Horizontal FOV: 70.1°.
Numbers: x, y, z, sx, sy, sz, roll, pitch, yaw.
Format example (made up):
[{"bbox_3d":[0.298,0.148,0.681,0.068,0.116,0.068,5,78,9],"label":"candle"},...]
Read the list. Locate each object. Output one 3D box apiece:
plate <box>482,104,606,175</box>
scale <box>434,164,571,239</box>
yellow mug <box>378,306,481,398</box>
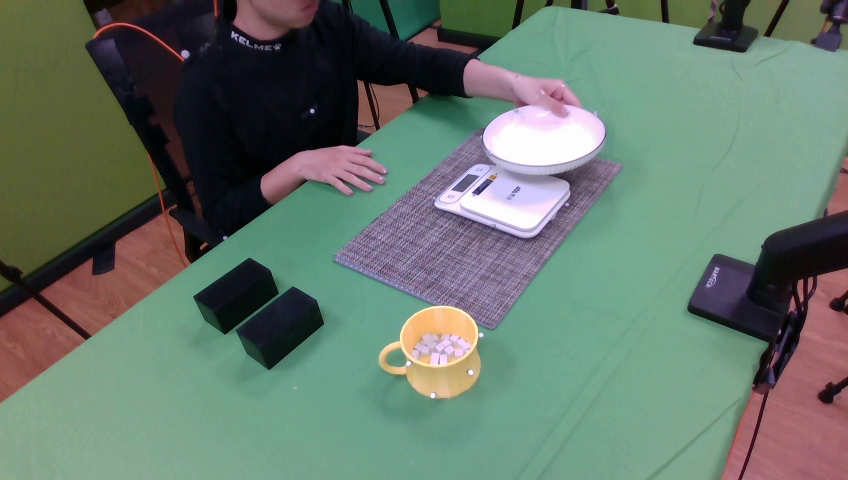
[{"bbox_3d":[0.205,-0.169,1.038,0.209,0.038,0.208,-5,39,5],"label":"plate"},{"bbox_3d":[0.132,-0.075,1.024,0.199,0.032,0.149,22,48,30],"label":"scale"},{"bbox_3d":[0.006,0.144,0.766,0.131,0.064,0.099,-10,40,-2],"label":"yellow mug"}]
